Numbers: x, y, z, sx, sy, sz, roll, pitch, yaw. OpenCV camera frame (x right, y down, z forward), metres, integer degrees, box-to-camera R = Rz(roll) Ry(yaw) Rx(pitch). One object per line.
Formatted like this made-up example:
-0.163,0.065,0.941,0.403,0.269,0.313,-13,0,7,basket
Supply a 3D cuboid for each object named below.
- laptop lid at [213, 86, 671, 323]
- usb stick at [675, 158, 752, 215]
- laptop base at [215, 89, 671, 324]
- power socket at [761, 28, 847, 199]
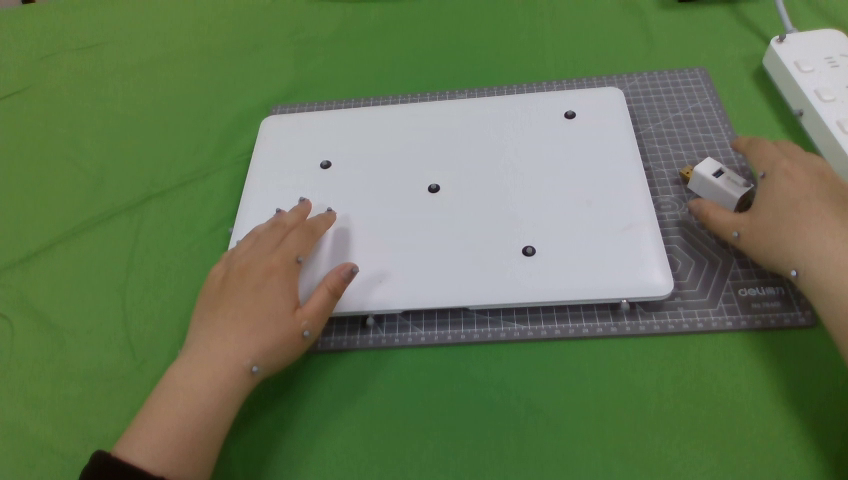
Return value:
0.008,-0.041,0.520,0.356,0.013,0.239,-3,54,7,laptop lid
0.235,-0.048,0.498,0.021,0.027,0.058,-30,48,-21,usb stick
0.010,-0.035,0.531,0.354,0.023,0.233,-4,55,6,laptop base
0.369,-0.112,0.528,0.072,0.033,0.224,-6,51,3,power socket
